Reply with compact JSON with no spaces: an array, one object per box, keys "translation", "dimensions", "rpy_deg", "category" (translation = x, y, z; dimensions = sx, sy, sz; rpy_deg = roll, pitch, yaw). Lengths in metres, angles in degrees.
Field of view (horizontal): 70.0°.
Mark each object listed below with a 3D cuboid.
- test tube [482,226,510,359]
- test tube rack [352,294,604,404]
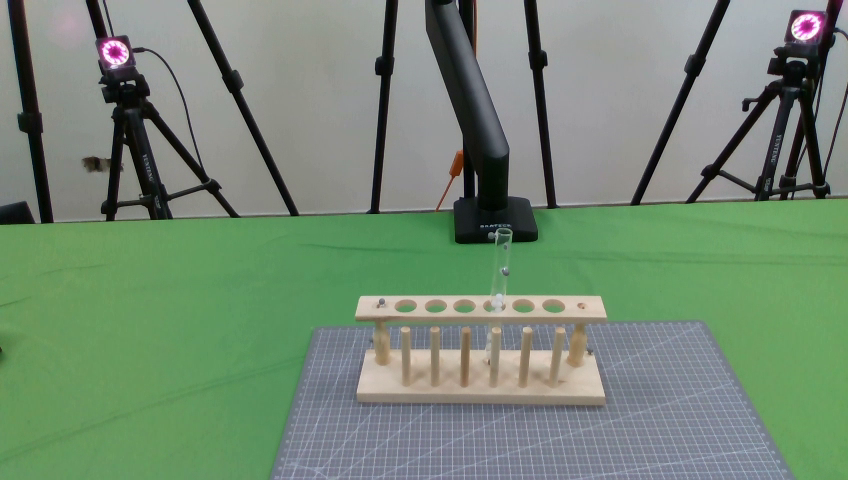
[{"translation":[0.069,0.056,0.593],"dimensions":[0.017,0.151,0.017],"rpy_deg":[2,28,-1],"category":"test tube"},{"translation":[0.052,0.108,0.604],"dimensions":[0.242,0.086,0.066],"rpy_deg":[0,31,4],"category":"test tube rack"}]
